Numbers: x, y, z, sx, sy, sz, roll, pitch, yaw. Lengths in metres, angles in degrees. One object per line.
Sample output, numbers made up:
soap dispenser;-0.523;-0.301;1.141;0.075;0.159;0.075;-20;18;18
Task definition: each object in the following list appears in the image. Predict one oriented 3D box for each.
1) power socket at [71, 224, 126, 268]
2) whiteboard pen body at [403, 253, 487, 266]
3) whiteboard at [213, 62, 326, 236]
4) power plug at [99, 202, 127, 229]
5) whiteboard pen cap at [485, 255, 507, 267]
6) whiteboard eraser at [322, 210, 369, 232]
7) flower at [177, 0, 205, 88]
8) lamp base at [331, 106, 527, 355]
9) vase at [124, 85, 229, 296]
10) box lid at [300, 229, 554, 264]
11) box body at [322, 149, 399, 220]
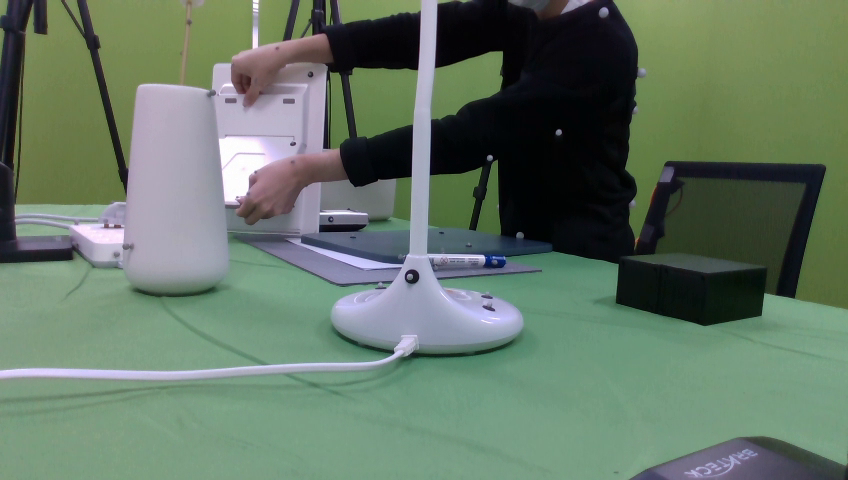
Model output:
power socket;-0.409;0.004;0.793;0.072;0.032;0.225;-2;8;-37
whiteboard pen body;0.040;0.026;0.784;0.141;0.017;0.017;2;7;-24
whiteboard;-0.295;-0.160;1.013;0.217;0.305;0.144;3;2;13
power plug;-0.415;-0.026;0.848;0.073;0.052;0.035;6;5;-28
whiteboard pen cap;0.093;0.028;0.809;0.033;0.018;0.018;0;8;-23
whiteboard eraser;-0.168;-0.037;1.172;0.113;0.042;0.055;-2;7;-35
flower;-0.243;-0.131;0.609;0.044;0.361;0.038;-5;-12;11
lamp base;0.006;-0.012;0.478;0.161;0.180;0.179;2;10;2
vase;-0.244;-0.047;0.598;0.098;0.200;0.098;3;8;0
box lid;0.011;0.006;0.999;0.374;0.015;0.262;-3;9;-43
box body;-0.264;-0.129;1.380;0.253;0.160;0.366;8;9;39
